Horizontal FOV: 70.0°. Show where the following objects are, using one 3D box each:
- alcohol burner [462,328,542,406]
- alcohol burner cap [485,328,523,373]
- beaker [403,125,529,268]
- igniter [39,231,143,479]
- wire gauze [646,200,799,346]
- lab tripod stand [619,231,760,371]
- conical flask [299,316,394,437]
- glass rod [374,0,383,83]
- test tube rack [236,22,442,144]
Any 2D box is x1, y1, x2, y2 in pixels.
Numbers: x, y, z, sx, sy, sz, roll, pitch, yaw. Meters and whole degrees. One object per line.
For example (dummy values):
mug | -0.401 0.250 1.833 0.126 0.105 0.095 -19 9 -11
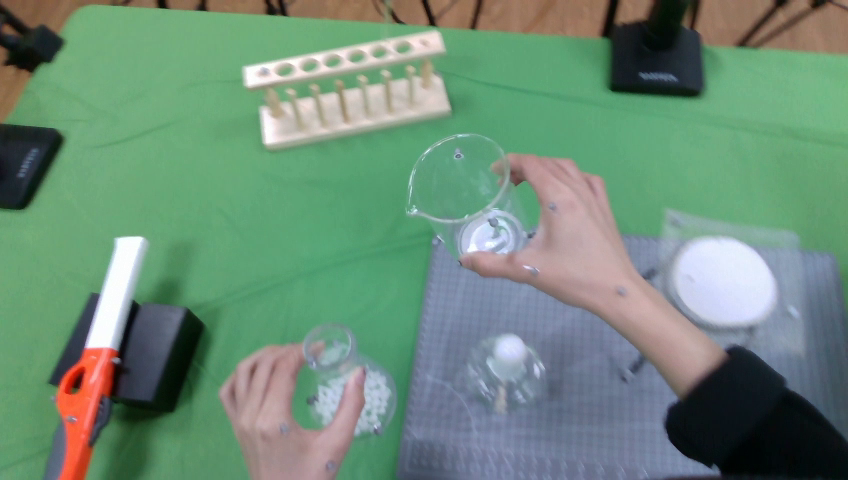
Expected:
alcohol burner | 0.076 0.116 0.578 0.078 0.120 0.077 0 61 1
alcohol burner cap | 0.074 0.097 0.546 0.034 0.048 0.033 1 56 -1
beaker | 0.036 -0.026 0.462 0.084 0.101 0.073 -32 58 3
igniter | -0.325 0.114 0.599 0.057 0.025 0.274 -3 61 7
wire gauze | 0.260 0.026 0.527 0.121 0.011 0.124 11 64 7
lab tripod stand | 0.255 0.061 0.585 0.148 0.132 0.147 0 61 1
conical flask | -0.065 0.102 0.472 0.075 0.123 0.074 -1 57 2
glass rod | -0.054 -0.255 0.721 0.008 0.201 0.008 1 62 -1
test tube rack | -0.103 -0.198 0.768 0.242 0.086 0.066 -13 63 -4
